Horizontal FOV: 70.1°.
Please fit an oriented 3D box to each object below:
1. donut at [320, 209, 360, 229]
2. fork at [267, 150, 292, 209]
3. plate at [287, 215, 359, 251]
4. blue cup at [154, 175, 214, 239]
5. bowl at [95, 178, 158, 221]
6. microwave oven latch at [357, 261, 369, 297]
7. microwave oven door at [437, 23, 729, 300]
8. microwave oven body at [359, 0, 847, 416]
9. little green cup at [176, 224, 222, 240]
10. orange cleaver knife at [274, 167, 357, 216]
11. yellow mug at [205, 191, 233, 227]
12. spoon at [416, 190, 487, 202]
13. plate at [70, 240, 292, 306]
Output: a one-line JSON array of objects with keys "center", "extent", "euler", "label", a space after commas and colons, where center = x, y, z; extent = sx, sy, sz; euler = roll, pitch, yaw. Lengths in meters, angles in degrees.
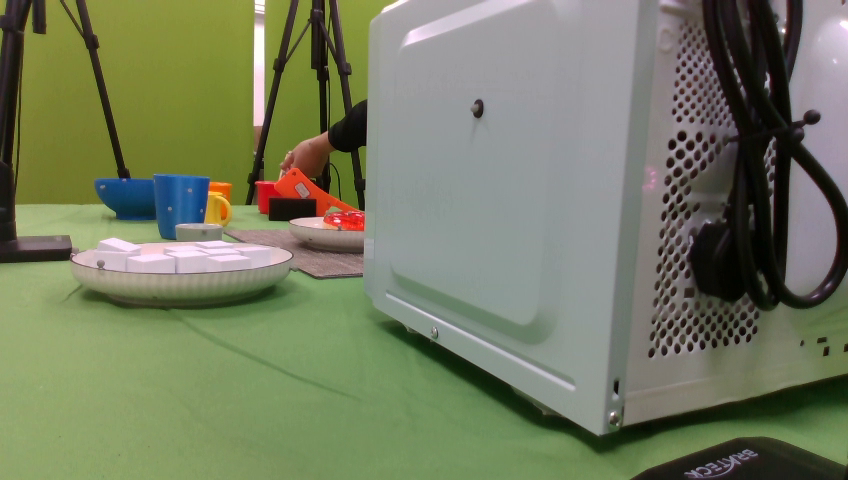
[{"center": [-0.115, -0.023, 0.962], "extent": [0.099, 0.048, 0.099], "euler": [5, 9, 0], "label": "donut"}, {"center": [-0.358, -0.154, 1.514], "extent": [0.028, 0.207, 0.019], "euler": [-7, -37, 17], "label": "fork"}, {"center": [-0.111, -0.012, 0.960], "extent": [0.209, 0.038, 0.209], "euler": [3, 8, 0], "label": "plate"}, {"center": [-0.390, -0.053, 0.978], "extent": [0.093, 0.100, 0.092], "euler": [3, 6, 0], "label": "blue cup"}, {"center": [-0.576, -0.081, 1.217], "extent": [0.151, 0.077, 0.151], "euler": [3, 8, 0], "label": "bowl"}, {"center": [-0.019, 0.033, 0.530], "extent": [0.079, 0.029, 0.030], "euler": [-1, 7, -26], "label": "microwave oven latch"}, {"center": [0.181, -0.072, 0.621], "extent": [0.358, 0.243, 0.039], "euler": [-2, 9, -29], "label": "microwave oven door"}, {"center": [0.211, -0.047, 0.474], "extent": [0.444, 0.260, 0.324], "euler": [-1, 7, -28], "label": "microwave oven body"}, {"center": [-0.312, -0.001, 0.842], "extent": [0.061, 0.038, 0.061], "euler": [2, 8, 0], "label": "little green cup"}, {"center": [-0.238, -0.091, 1.381], "extent": [0.212, 0.077, 0.012], "euler": [31, -1, -19], "label": "orange cleaver knife"}, {"center": [-0.415, -0.057, 1.132], "extent": [0.130, 0.064, 0.100], "euler": [6, 8, 16], "label": "yellow mug"}, {"center": [0.070, -0.110, 1.458], "extent": [0.195, 0.021, 0.041], "euler": [-9, -10, -27], "label": "spoon"}, {"center": [-0.242, 0.032, 0.618], "extent": [0.208, 0.039, 0.207], "euler": [2, 8, 0], "label": "plate"}]
